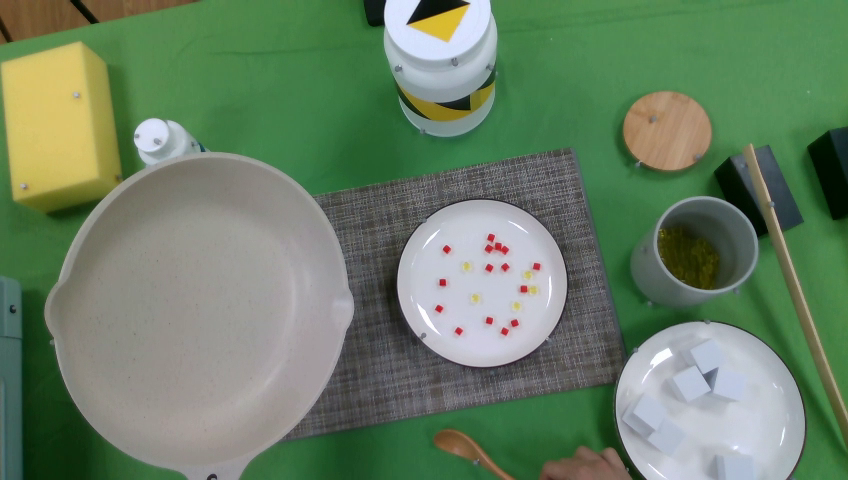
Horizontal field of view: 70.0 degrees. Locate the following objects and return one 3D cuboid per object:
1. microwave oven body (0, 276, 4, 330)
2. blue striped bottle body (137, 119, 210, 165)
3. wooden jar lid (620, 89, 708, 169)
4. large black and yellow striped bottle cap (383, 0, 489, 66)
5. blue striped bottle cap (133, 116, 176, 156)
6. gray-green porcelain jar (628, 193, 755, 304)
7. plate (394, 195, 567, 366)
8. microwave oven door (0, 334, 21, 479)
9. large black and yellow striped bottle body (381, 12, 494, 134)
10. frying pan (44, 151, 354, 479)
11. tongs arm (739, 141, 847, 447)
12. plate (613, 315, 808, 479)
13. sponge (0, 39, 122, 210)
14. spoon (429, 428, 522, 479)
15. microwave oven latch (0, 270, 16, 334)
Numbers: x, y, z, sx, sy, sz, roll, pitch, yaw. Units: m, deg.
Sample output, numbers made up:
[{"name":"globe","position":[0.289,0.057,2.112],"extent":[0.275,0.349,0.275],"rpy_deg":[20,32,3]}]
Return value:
[{"name":"microwave oven body","position":[-0.662,0.253,0.638],"extent":[0.326,0.261,0.439],"rpy_deg":[-10,77,2]},{"name":"blue striped bottle body","position":[-0.315,-0.111,0.768],"extent":[0.063,0.121,0.063],"rpy_deg":[-1,77,5]},{"name":"wooden jar lid","position":[0.305,-0.141,0.775],"extent":[0.108,0.021,0.108],"rpy_deg":[-1,78,5]},{"name":"large black and yellow striped bottle cap","position":[0.013,-0.243,0.652],"extent":[0.115,0.019,0.114],"rpy_deg":[-1,79,5]},{"name":"blue striped bottle cap","position":[-0.320,-0.124,0.718],"extent":[0.044,0.021,0.044],"rpy_deg":[-1,79,4]},{"name":"gray-green porcelain jar","position":[0.294,0.016,0.686],"extent":[0.106,0.127,0.105],"rpy_deg":[-1,77,5]},{"name":"plate","position":[0.068,0.048,0.739],"extent":[0.209,0.038,0.208],"rpy_deg":[-1,77,5]},{"name":"microwave oven door","position":[-0.513,0.266,0.618],"extent":[0.039,0.245,0.354],"rpy_deg":[-11,76,2]},{"name":"large black and yellow striped bottle body","position":[0.020,-0.222,0.734],"extent":[0.130,0.185,0.130],"rpy_deg":[-1,76,5]},{"name":"frying pan","position":[-0.199,0.165,0.570],"extent":[0.102,0.309,0.486],"rpy_deg":[-10,78,41]},{"name":"tongs arm","position":[0.438,0.067,0.680],"extent":[0.051,0.026,0.384],"rpy_deg":[-16,87,-1]},{"name":"plate","position":[0.319,0.190,0.690],"extent":[0.207,0.039,0.206],"rpy_deg":[-1,77,5]},{"name":"sponge","position":[-0.495,-0.156,0.823],"extent":[0.118,0.061,0.205],"rpy_deg":[-16,77,1]},{"name":"spoon","position":[0.092,0.259,0.674],"extent":[0.192,0.042,0.021],"rpy_deg":[24,44,25]},{"name":"microwave oven latch","position":[-0.538,0.079,0.767],"extent":[0.030,0.029,0.079],"rpy_deg":[-5,77,3]}]
